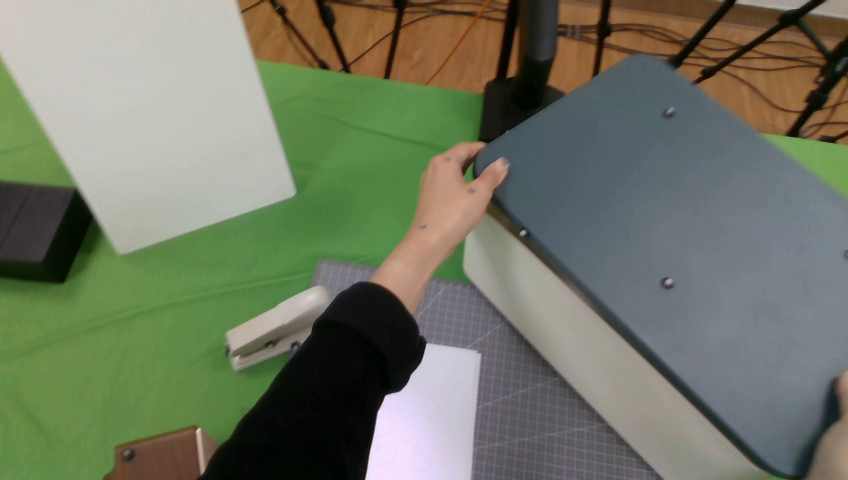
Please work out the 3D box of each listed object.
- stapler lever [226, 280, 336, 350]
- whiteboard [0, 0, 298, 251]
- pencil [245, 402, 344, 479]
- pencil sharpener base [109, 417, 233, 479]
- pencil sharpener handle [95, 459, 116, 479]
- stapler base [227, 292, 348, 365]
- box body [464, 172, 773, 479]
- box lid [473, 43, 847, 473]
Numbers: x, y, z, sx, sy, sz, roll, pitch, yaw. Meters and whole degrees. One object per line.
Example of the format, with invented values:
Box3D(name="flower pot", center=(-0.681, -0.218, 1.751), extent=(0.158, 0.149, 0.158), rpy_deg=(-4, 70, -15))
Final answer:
Box3D(name="stapler lever", center=(-0.150, 0.077, 0.635), extent=(0.118, 0.040, 0.026), rpy_deg=(-22, 58, -13))
Box3D(name="whiteboard", center=(-0.298, -0.178, 0.681), extent=(0.217, 0.308, 0.142), rpy_deg=(-21, 43, -15))
Box3D(name="pencil", center=(-0.107, 0.216, 0.592), extent=(0.193, 0.012, 0.012), rpy_deg=(33, 62, 17))
Box3D(name="pencil sharpener base", center=(-0.219, 0.207, 0.534), extent=(0.077, 0.108, 0.061), rpy_deg=(-12, 61, -10))
Box3D(name="pencil sharpener handle", center=(-0.267, 0.214, 0.512), extent=(0.031, 0.068, 0.035), rpy_deg=(-12, 46, -10))
Box3D(name="stapler base", center=(-0.149, 0.089, 0.657), extent=(0.131, 0.024, 0.041), rpy_deg=(-22, 59, -13))
Box3D(name="box body", center=(0.243, 0.039, 0.634), extent=(0.254, 0.161, 0.361), rpy_deg=(-35, 67, -22))
Box3D(name="box lid", center=(0.247, -0.019, 0.535), extent=(0.263, 0.015, 0.368), rpy_deg=(-35, 69, -20))
